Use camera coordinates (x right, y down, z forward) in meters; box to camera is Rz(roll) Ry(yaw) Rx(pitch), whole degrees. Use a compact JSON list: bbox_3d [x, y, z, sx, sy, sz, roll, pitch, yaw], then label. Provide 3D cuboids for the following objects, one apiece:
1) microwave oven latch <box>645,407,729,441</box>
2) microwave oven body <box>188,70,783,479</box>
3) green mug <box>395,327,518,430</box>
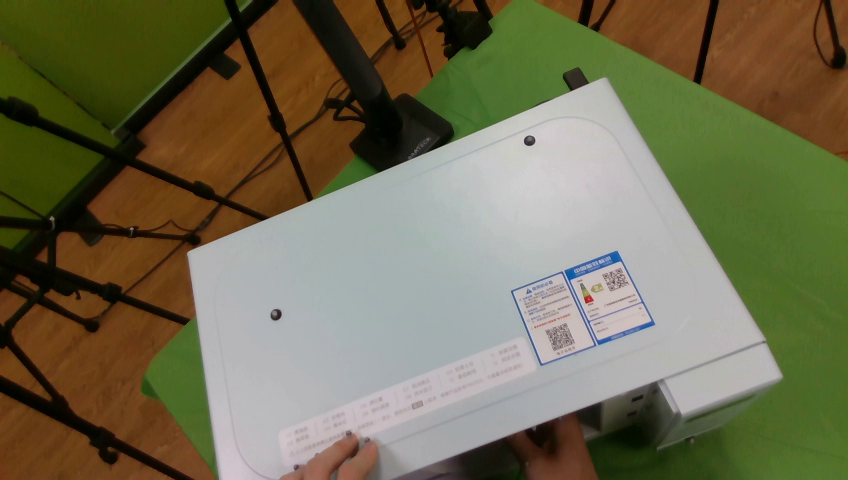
[{"bbox_3d":[0.271,0.181,0.626,0.079,0.030,0.030,-21,63,6],"label":"microwave oven latch"},{"bbox_3d":[0.039,0.087,0.623,0.441,0.262,0.323,-23,63,5],"label":"microwave oven body"},{"bbox_3d":[0.037,0.146,0.604,0.124,0.106,0.092,26,75,25],"label":"green mug"}]
